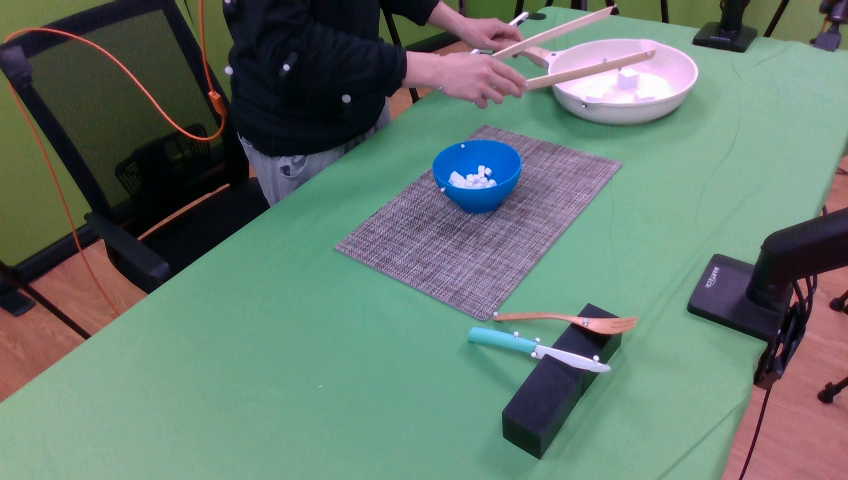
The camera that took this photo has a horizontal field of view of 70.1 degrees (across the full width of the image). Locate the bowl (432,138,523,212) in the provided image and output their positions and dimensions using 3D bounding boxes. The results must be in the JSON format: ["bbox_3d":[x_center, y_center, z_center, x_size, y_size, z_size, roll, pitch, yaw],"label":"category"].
[{"bbox_3d":[0.091,-0.100,1.022,0.151,0.077,0.150,-4,40,4],"label":"bowl"}]

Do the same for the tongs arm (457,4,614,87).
[{"bbox_3d":[0.212,-0.367,1.119,0.389,0.028,0.028,-29,72,-21],"label":"tongs arm"}]

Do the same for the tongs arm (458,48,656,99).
[{"bbox_3d":[0.246,-0.309,1.088,0.386,0.026,0.050,-18,65,-16],"label":"tongs arm"}]

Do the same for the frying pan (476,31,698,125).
[{"bbox_3d":[0.321,-0.371,1.290,0.484,0.103,0.307,29,51,24],"label":"frying pan"}]

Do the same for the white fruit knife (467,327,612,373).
[{"bbox_3d":[0.134,0.134,0.742,0.205,0.027,0.016,7,34,41],"label":"white fruit knife"}]

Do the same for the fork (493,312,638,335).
[{"bbox_3d":[0.173,0.103,0.774,0.206,0.019,0.028,0,41,40],"label":"fork"}]
